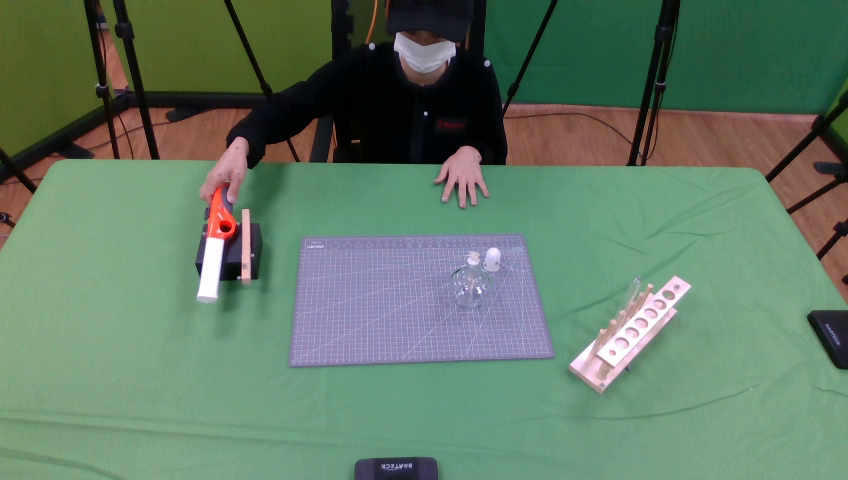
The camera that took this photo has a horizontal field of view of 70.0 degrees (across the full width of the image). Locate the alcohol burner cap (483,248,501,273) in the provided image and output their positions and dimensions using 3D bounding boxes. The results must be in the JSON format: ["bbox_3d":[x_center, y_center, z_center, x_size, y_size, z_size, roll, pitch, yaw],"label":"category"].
[{"bbox_3d":[0.130,0.037,1.156,0.034,0.048,0.033,1,46,-1],"label":"alcohol burner cap"}]

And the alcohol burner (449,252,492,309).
[{"bbox_3d":[0.084,0.066,1.074,0.078,0.120,0.077,1,44,-1],"label":"alcohol burner"}]

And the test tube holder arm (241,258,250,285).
[{"bbox_3d":[-0.316,0.042,1.071,0.015,0.010,0.087,-1,49,-15],"label":"test tube holder arm"}]

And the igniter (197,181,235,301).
[{"bbox_3d":[-0.375,-0.008,1.095,0.057,0.025,0.274,12,47,-21],"label":"igniter"}]

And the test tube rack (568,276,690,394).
[{"bbox_3d":[0.353,0.149,1.039,0.242,0.085,0.066,-34,56,-31],"label":"test tube rack"}]

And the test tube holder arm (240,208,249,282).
[{"bbox_3d":[-0.323,0.005,1.096,0.015,0.013,0.177,-1,48,-15],"label":"test tube holder arm"}]

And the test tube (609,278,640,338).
[{"bbox_3d":[0.331,0.115,1.007,0.017,0.151,0.017,2,45,-2],"label":"test tube"}]
